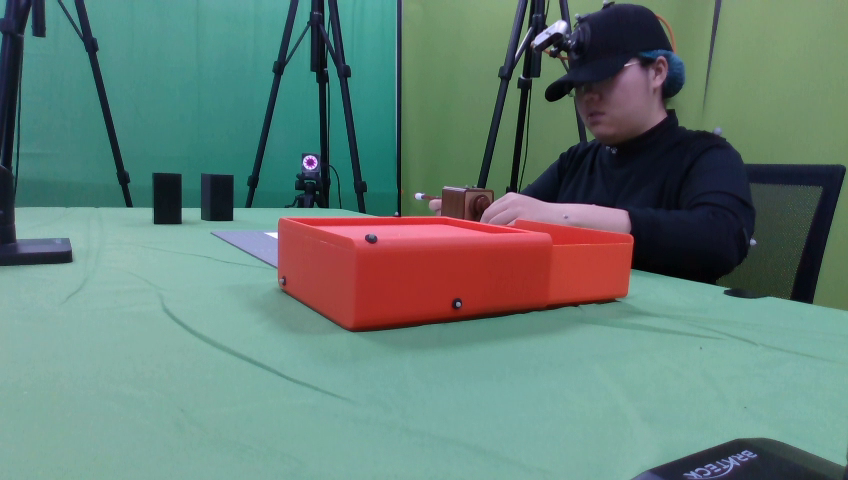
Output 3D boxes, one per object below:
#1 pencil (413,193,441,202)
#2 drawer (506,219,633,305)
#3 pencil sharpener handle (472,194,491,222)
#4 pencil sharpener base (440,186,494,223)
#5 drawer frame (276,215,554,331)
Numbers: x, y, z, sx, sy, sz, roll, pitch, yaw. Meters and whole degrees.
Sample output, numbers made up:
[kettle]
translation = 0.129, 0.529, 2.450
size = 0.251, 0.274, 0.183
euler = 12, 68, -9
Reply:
[pencil]
translation = 0.031, -0.070, 1.056
size = 0.012, 0.012, 0.193
euler = -1, 9, -30
[drawer]
translation = 0.085, 0.021, 0.674
size = 0.213, 0.073, 0.193
euler = -2, 9, -32
[pencil sharpener handle]
translation = 0.095, -0.038, 0.945
size = 0.036, 0.067, 0.030
euler = 6, 5, -31
[pencil sharpener base]
translation = 0.070, -0.033, 0.991
size = 0.062, 0.107, 0.076
euler = -1, 9, -31
[drawer frame]
translation = -0.015, 0.022, 0.610
size = 0.215, 0.082, 0.200
euler = -2, 9, -32
